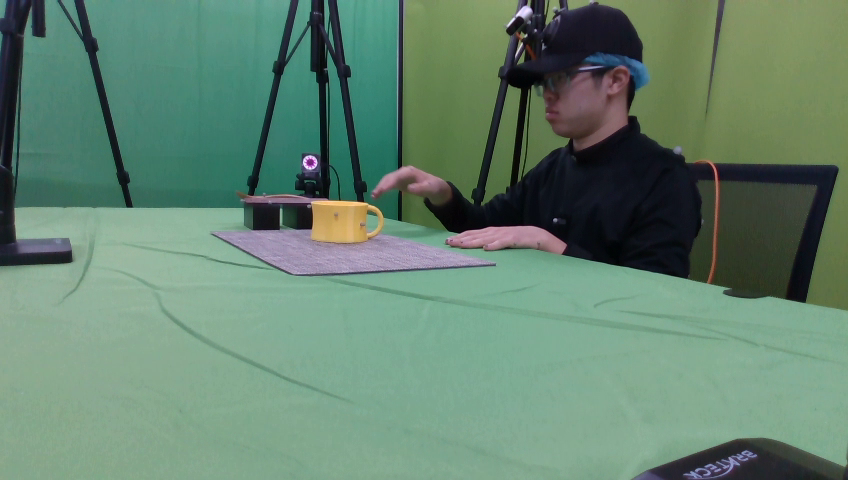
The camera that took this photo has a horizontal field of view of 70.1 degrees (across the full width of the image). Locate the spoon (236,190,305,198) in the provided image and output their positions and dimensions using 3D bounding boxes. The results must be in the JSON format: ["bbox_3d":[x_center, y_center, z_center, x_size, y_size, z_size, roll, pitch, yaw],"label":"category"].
[{"bbox_3d":[-0.290,-0.088,1.248,0.195,0.021,0.041,0,6,-31],"label":"spoon"}]

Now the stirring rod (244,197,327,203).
[{"bbox_3d":[-0.271,-0.079,1.201,0.177,0.006,0.014,-2,46,-36],"label":"stirring rod"}]

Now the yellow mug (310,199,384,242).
[{"bbox_3d":[-0.132,-0.035,1.054,0.131,0.064,0.099,0,8,-23],"label":"yellow mug"}]
